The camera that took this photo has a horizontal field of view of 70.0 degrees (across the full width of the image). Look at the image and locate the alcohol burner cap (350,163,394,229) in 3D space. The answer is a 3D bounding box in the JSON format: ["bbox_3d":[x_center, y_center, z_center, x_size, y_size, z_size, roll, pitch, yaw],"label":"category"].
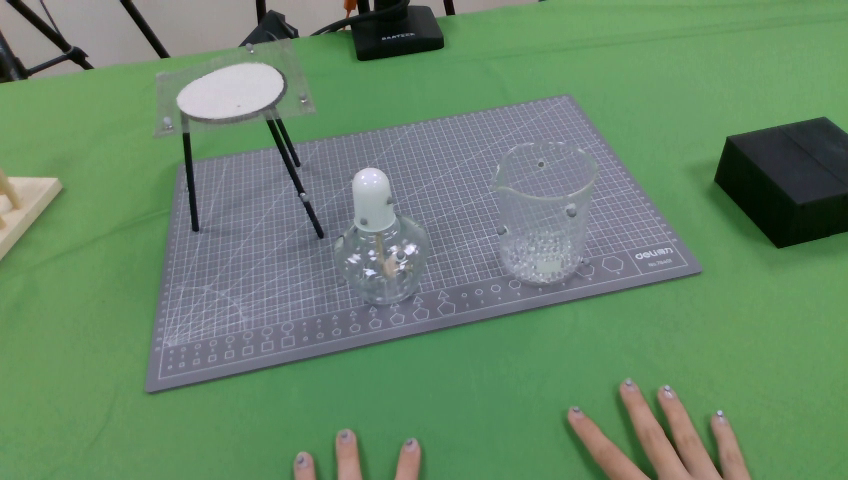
[{"bbox_3d":[-0.041,-0.034,0.452,0.034,0.048,0.033,-1,42,2],"label":"alcohol burner cap"}]

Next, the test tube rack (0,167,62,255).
[{"bbox_3d":[-0.440,-0.008,0.542,0.066,0.086,0.240,2,45,8],"label":"test tube rack"}]

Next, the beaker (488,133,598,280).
[{"bbox_3d":[0.092,-0.022,0.487,0.084,0.101,0.073,-14,44,-7],"label":"beaker"}]

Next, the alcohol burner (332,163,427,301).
[{"bbox_3d":[-0.037,-0.009,0.477,0.078,0.120,0.077,-4,42,4],"label":"alcohol burner"}]

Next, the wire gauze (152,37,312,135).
[{"bbox_3d":[-0.164,-0.129,0.502,0.125,0.011,0.120,-16,45,-9],"label":"wire gauze"}]

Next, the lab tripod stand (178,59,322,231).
[{"bbox_3d":[-0.158,-0.081,0.549,0.148,0.133,0.147,-3,46,4],"label":"lab tripod stand"}]
